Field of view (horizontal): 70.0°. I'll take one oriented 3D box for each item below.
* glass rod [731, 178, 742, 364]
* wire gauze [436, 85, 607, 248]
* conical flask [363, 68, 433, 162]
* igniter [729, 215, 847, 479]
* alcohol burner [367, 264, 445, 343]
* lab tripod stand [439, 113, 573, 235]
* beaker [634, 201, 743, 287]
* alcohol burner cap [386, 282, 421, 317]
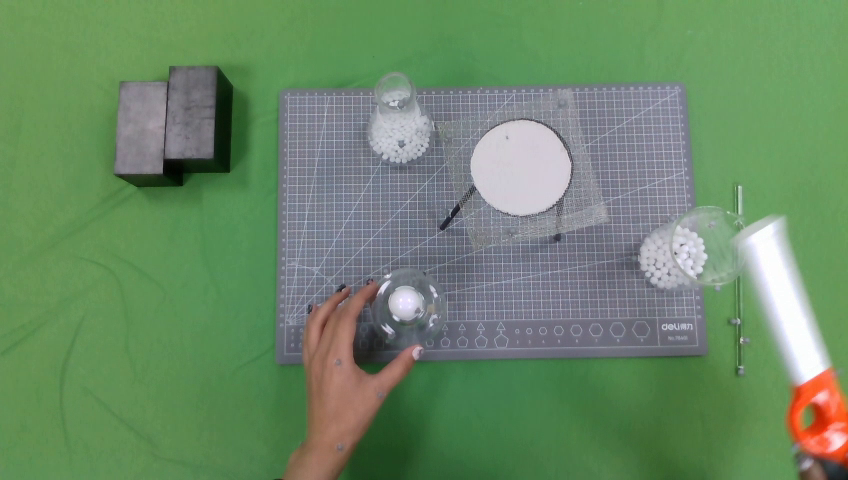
[{"bbox_3d":[0.333,0.030,0.645,0.008,0.008,0.199,3,82,0],"label":"glass rod"},{"bbox_3d":[0.084,-0.063,0.524,0.125,0.011,0.121,-14,82,-2],"label":"wire gauze"},{"bbox_3d":[-0.029,-0.129,0.606,0.075,0.122,0.075,0,81,1],"label":"conical flask"},{"bbox_3d":[0.306,0.109,0.479,0.057,0.025,0.277,-28,100,-6],"label":"igniter"},{"bbox_3d":[-0.019,0.060,0.584,0.078,0.119,0.077,0,80,2],"label":"alcohol burner"},{"bbox_3d":[0.083,-0.055,0.591,0.148,0.132,0.148,0,83,1],"label":"lab tripod stand"},{"bbox_3d":[0.259,0.007,0.600,0.084,0.100,0.074,-38,83,-6],"label":"beaker"},{"bbox_3d":[-0.019,0.054,0.548,0.034,0.048,0.034,0,85,-3],"label":"alcohol burner cap"}]
